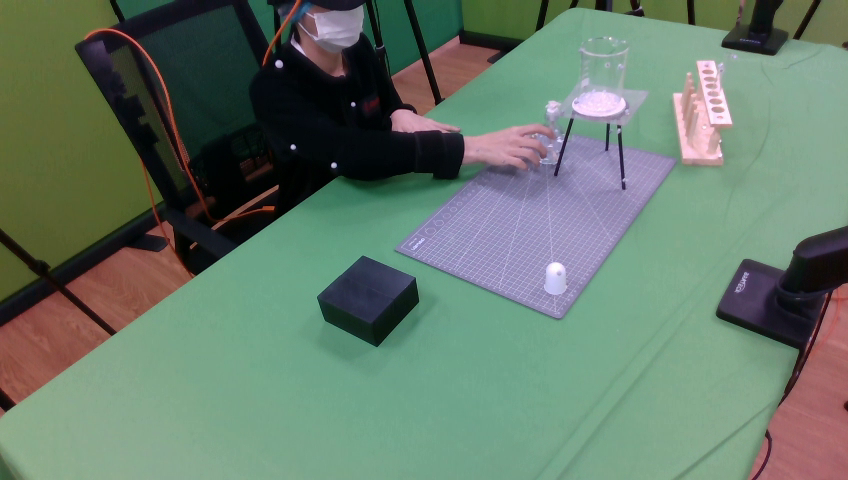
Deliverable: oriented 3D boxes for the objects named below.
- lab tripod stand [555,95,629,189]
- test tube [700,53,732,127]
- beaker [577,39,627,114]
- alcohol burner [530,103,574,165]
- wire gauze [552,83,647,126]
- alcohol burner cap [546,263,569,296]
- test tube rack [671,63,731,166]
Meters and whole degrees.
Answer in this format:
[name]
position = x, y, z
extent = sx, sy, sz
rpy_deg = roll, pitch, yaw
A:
[lab tripod stand]
position = 0.300, -0.174, 1.045
extent = 0.148, 0.132, 0.147
rpy_deg = -5, 38, 5
[test tube]
position = 0.521, -0.265, 1.081
extent = 0.017, 0.151, 0.017
rpy_deg = -3, 47, 3
[beaker]
position = 0.286, -0.264, 0.976
extent = 0.073, 0.101, 0.084
rpy_deg = 25, 49, 33
[alcohol burner]
position = 0.233, -0.197, 1.098
extent = 0.078, 0.119, 0.077
rpy_deg = -3, 41, 3
[wire gauze]
position = 0.293, -0.224, 1.004
extent = 0.120, 0.011, 0.125
rpy_deg = 19, 43, 26
[alcohol burner cap]
position = 0.191, 0.053, 0.862
extent = 0.034, 0.048, 0.033
rpy_deg = -5, 40, 4
[test tube rack]
position = 0.513, -0.241, 1.132
extent = 0.066, 0.085, 0.242
rpy_deg = 4, 41, 14
